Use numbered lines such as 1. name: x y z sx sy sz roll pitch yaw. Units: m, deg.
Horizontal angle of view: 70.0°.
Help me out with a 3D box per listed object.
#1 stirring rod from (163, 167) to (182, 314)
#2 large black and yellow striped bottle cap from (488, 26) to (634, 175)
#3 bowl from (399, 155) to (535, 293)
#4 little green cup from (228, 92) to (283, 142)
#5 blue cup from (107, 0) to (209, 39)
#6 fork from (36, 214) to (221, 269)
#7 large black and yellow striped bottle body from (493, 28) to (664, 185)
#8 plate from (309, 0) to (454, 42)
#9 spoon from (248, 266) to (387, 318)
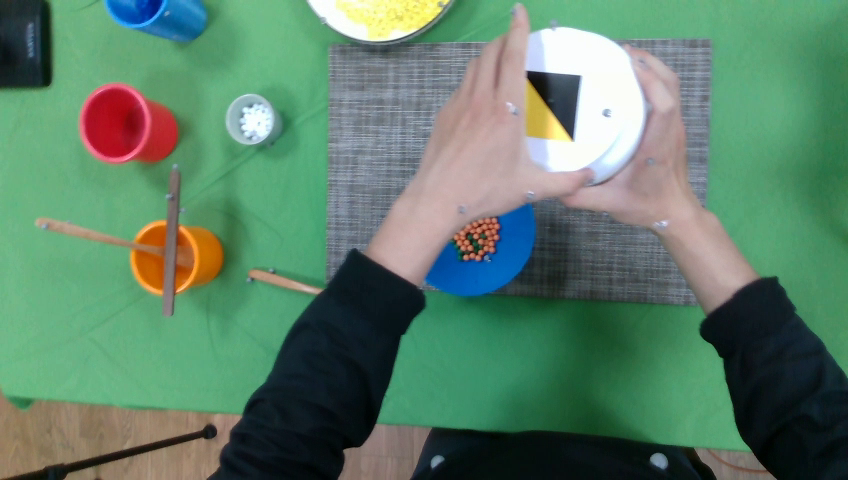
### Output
1. stirring rod: -0.300 0.001 0.723 0.014 0.006 0.176 5 93 8
2. large black and yellow striped bottle cap: 0.106 -0.109 0.482 0.114 0.019 0.115 3 96 27
3. bowl: 0.053 -0.017 0.698 0.151 0.077 0.151 0 92 10
4. little green cup: -0.209 -0.151 0.760 0.061 0.038 0.061 0 92 11
5. blue cup: -0.316 -0.291 0.740 0.092 0.100 0.092 0 92 12
6. fork: -0.350 0.002 0.734 0.209 0.018 0.028 17 99 -35
7. large black and yellow striped bottle body: 0.143 -0.116 0.557 0.130 0.184 0.131 2 95 26
8. plate: -0.047 -0.339 0.725 0.209 0.038 0.209 0 93 9
9. spoon: -0.137 0.059 0.765 0.193 0.021 0.042 13 108 8
